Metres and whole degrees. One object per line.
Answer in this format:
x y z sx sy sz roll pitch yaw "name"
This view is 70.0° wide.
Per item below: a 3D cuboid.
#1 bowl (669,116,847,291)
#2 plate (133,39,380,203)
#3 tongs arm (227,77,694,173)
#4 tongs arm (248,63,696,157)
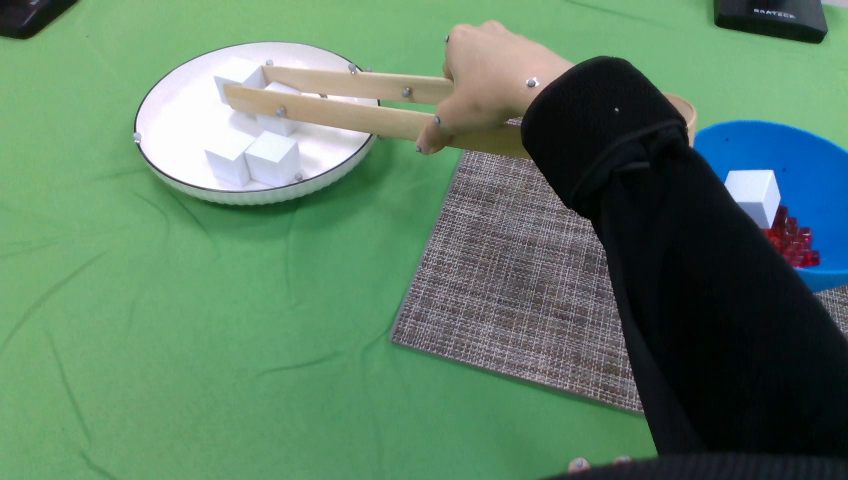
0.250 -0.014 0.450 0.151 0.077 0.150 1 51 -1 "bowl"
-0.144 -0.107 0.541 0.209 0.038 0.207 1 51 -1 "plate"
-0.007 -0.093 0.451 0.385 0.028 0.028 14 44 28 "tongs arm"
0.004 -0.106 0.464 0.382 0.027 0.050 11 45 25 "tongs arm"
